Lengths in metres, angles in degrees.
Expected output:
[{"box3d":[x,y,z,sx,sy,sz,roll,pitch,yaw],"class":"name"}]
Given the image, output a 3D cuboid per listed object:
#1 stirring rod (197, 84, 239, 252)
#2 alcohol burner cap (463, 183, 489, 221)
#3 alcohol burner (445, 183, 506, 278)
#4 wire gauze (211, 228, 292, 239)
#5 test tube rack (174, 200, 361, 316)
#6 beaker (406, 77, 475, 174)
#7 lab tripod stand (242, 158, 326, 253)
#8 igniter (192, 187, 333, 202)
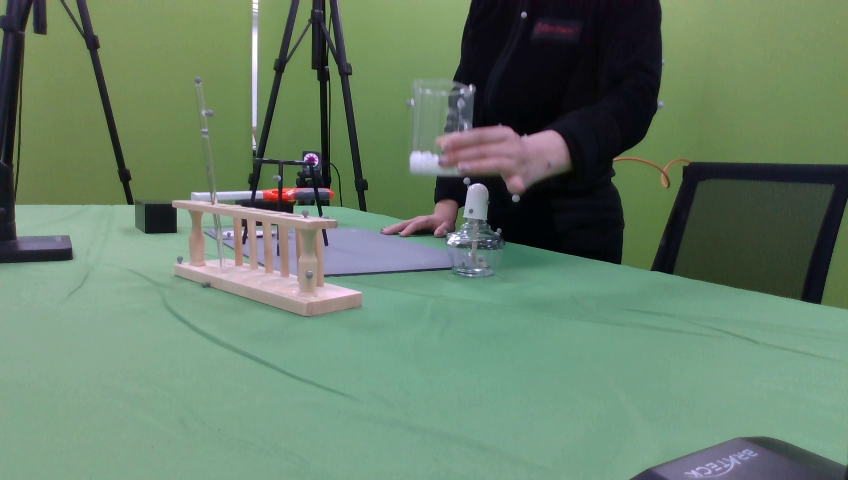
[{"box3d":[-0.212,-0.072,0.625,0.006,0.176,0.014,-14,12,-22],"class":"stirring rod"},{"box3d":[0.067,-0.048,0.765,0.034,0.048,0.034,5,5,0],"class":"alcohol burner cap"},{"box3d":[0.066,-0.013,0.771,0.078,0.119,0.078,0,7,0],"class":"alcohol burner"},{"box3d":[-0.298,-0.013,1.039,0.122,0.011,0.124,-2,6,-27],"class":"wire gauze"},{"box3d":[-0.169,0.009,0.622,0.241,0.085,0.067,9,9,41],"class":"test tube rack"},{"box3d":[0.019,-0.125,0.675,0.074,0.100,0.083,-1,6,-40],"class":"beaker"},{"box3d":[-0.207,-0.054,0.895,0.148,0.131,0.148,3,5,0],"class":"lab tripod stand"},{"box3d":[-0.316,-0.090,1.214,0.278,0.025,0.057,-5,13,-31],"class":"igniter"}]
